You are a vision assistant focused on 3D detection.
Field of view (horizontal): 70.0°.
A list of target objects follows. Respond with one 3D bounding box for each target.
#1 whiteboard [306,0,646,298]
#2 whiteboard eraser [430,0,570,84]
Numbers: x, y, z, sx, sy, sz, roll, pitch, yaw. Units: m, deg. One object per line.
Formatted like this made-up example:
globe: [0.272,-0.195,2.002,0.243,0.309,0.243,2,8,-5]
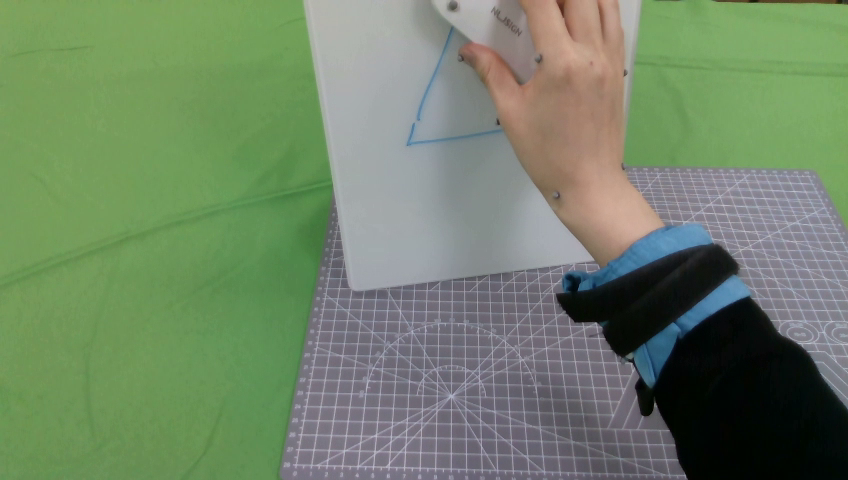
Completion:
whiteboard: [0.031,-0.132,0.466,0.217,0.308,0.142,-7,31,-5]
whiteboard eraser: [0.049,-0.136,0.377,0.102,0.041,0.018,31,16,-23]
